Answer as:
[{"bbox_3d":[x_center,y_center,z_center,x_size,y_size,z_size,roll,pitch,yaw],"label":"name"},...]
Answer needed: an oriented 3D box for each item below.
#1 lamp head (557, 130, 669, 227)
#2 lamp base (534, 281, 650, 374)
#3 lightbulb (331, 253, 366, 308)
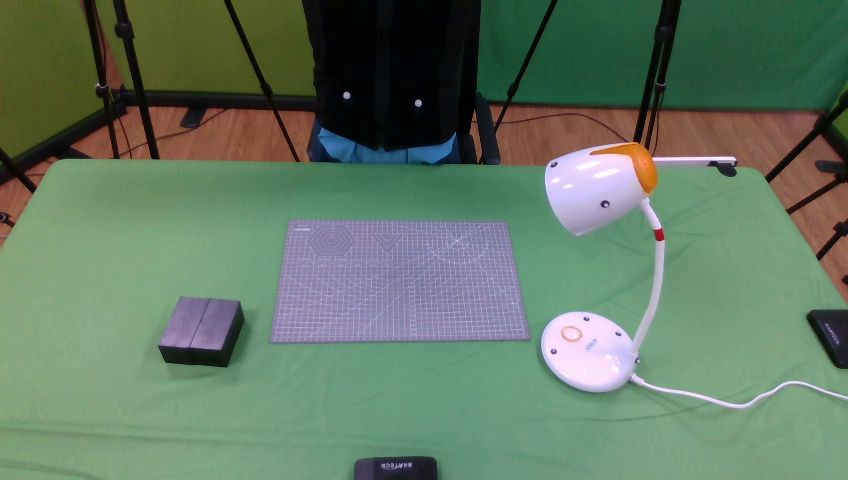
[{"bbox_3d":[0.251,-0.085,0.784,0.123,0.113,0.112,-20,38,29],"label":"lamp head"},{"bbox_3d":[0.287,0.113,0.999,0.179,0.181,0.160,13,47,5],"label":"lamp base"},{"bbox_3d":[-0.131,0.074,1.094,0.059,0.060,0.107,-15,65,-18],"label":"lightbulb"}]
